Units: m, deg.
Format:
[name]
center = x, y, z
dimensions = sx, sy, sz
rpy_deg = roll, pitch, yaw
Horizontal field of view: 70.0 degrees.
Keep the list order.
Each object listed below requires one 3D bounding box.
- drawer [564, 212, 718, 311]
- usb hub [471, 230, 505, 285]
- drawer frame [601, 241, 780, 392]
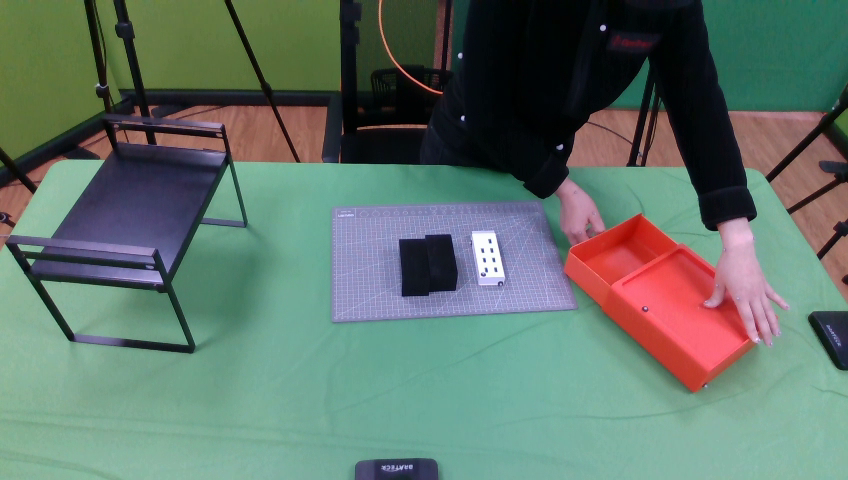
[drawer]
center = 0.404, 0.064, 1.122
dimensions = 0.194, 0.073, 0.210
rpy_deg = -23, 51, -24
[usb hub]
center = 0.121, 0.033, 1.168
dimensions = 0.049, 0.025, 0.124
rpy_deg = -1, 46, -5
[drawer frame]
center = 0.462, 0.125, 1.065
dimensions = 0.202, 0.083, 0.212
rpy_deg = -26, 54, -26
